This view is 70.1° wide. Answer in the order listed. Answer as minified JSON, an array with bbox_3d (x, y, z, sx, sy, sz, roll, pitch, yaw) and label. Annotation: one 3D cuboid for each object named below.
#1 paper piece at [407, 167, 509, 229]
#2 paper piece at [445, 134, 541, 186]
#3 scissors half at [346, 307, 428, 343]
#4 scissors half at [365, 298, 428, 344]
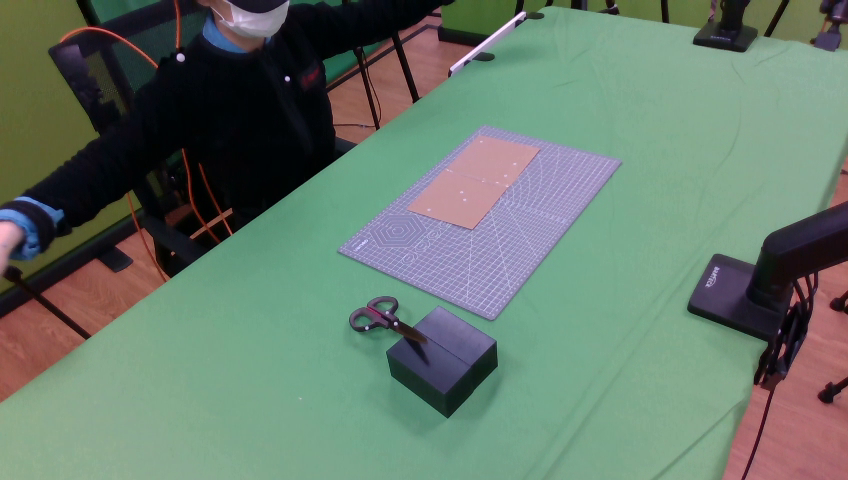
[{"bbox_3d":[0.059,-0.077,1.055,0.134,0.004,0.136,20,48,27],"label":"paper piece"},{"bbox_3d":[0.130,-0.154,1.137,0.135,0.009,0.138,22,48,25],"label":"paper piece"},{"bbox_3d":[-0.051,0.115,0.799,0.040,0.013,0.174,-29,23,-36],"label":"scissors half"},{"bbox_3d":[-0.035,0.107,0.808,0.040,0.013,0.174,-27,23,-18],"label":"scissors half"}]
